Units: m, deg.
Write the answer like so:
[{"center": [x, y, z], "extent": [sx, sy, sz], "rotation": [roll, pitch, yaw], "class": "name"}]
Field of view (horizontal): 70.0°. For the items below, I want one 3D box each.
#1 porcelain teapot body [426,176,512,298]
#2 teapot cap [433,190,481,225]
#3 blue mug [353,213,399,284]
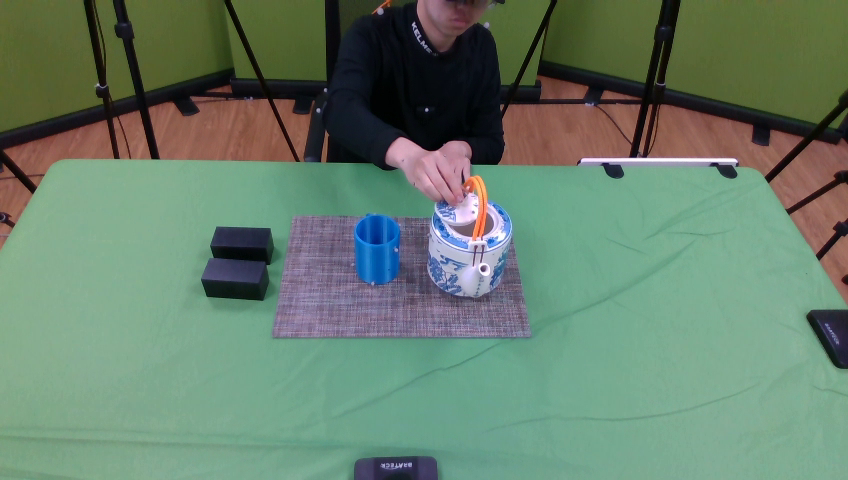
[{"center": [0.085, 0.009, 1.051], "extent": [0.145, 0.226, 0.204], "rotation": [-5, 47, -9], "class": "porcelain teapot body"}, {"center": [0.058, -0.060, 1.028], "extent": [0.085, 0.044, 0.084], "rotation": [1, 43, 0], "class": "teapot cap"}, {"center": [-0.093, 0.006, 1.123], "extent": [0.082, 0.106, 0.115], "rotation": [-11, 48, -15], "class": "blue mug"}]
